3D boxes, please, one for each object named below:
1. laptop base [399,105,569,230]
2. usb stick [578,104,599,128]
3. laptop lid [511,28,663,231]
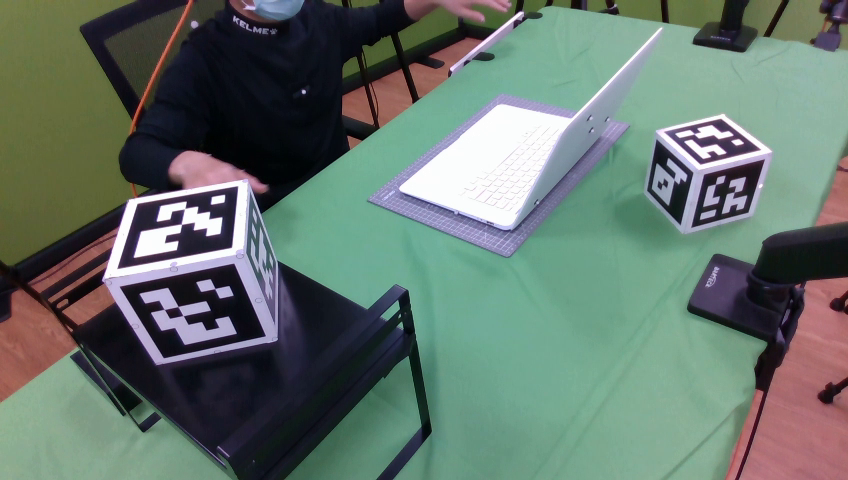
[{"bbox_3d":[0.149,-0.147,1.123,0.233,0.023,0.355,20,47,32],"label":"laptop base"},{"bbox_3d":[0.322,-0.242,1.189,0.021,0.027,0.059,24,53,29],"label":"usb stick"},{"bbox_3d":[0.265,-0.179,0.972,0.013,0.242,0.357,36,53,14],"label":"laptop lid"}]
